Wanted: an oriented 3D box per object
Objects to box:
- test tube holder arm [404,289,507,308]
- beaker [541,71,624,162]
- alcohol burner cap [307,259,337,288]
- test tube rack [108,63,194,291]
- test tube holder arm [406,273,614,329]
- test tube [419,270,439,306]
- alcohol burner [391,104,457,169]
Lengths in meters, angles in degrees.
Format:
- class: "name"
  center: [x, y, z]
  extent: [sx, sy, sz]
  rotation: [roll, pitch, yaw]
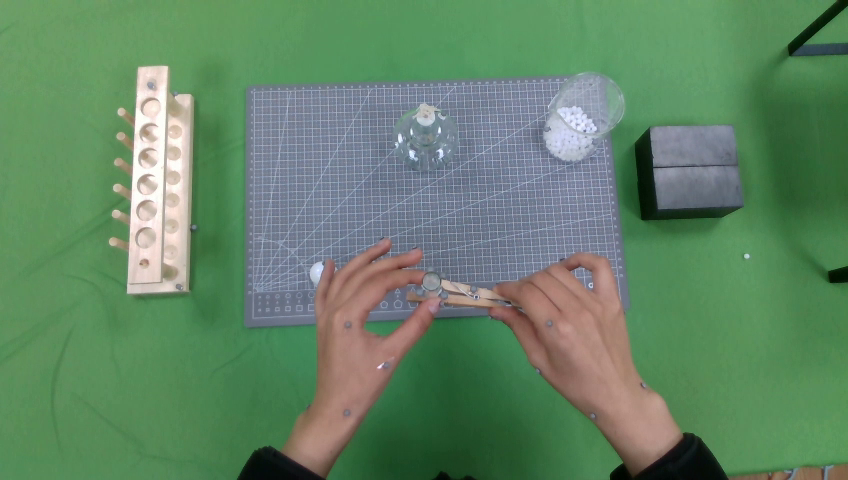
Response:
- class: "test tube holder arm"
  center: [0.027, 0.050, 0.517]
  extent: [0.088, 0.015, 0.010]
  rotation: [4, 82, 3]
- class: "beaker"
  center: [0.177, -0.138, 0.706]
  extent: [0.084, 0.100, 0.073]
  rotation: [-4, 78, -1]
- class: "alcohol burner cap"
  center: [-0.118, 0.037, 0.691]
  extent: [0.034, 0.048, 0.033]
  rotation: [0, 79, -2]
- class: "test tube rack"
  center: [-0.312, -0.068, 0.686]
  extent: [0.067, 0.085, 0.241]
  rotation: [-2, 79, -2]
- class: "test tube holder arm"
  center: [0.072, 0.052, 0.515]
  extent: [0.178, 0.015, 0.013]
  rotation: [11, 83, 4]
- class: "test tube"
  center: [0.006, 0.044, 0.527]
  extent: [0.017, 0.151, 0.017]
  rotation: [0, 79, 1]
- class: "alcohol burner"
  center: [0.000, -0.124, 0.690]
  extent: [0.078, 0.119, 0.077]
  rotation: [0, 79, 0]
